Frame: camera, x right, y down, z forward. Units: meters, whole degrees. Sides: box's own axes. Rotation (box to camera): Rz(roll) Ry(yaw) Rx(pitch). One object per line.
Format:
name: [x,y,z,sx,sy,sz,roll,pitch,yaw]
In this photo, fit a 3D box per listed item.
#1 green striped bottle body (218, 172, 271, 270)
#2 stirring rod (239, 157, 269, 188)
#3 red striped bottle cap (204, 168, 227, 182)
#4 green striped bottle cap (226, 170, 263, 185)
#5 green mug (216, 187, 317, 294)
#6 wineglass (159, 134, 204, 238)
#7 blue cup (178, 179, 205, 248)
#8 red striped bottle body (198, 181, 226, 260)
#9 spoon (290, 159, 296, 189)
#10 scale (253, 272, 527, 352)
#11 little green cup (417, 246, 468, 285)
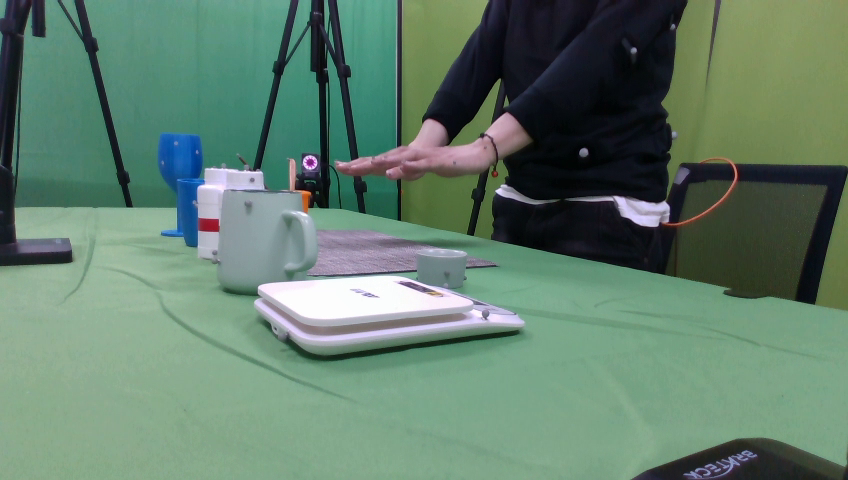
green striped bottle body: [-0.223,-0.025,0.755,0.063,0.119,0.063,1,7,0]
stirring rod: [-0.309,-0.098,1.209,0.006,0.177,0.014,-39,29,-4]
red striped bottle cap: [-0.275,-0.088,0.821,0.044,0.017,0.044,4,6,0]
green striped bottle cap: [-0.222,-0.077,0.748,0.044,0.020,0.044,1,7,0]
green mug: [-0.157,0.000,0.629,0.124,0.105,0.093,7,9,37]
wineglass: [-0.415,-0.093,1.040,0.074,0.172,0.073,2,7,0]
blue cup: [-0.335,-0.041,0.936,0.093,0.100,0.092,3,9,0]
red striped bottle body: [-0.275,-0.035,0.827,0.063,0.119,0.063,1,6,0]
spoon: [-0.273,-0.102,1.252,0.042,0.193,0.021,7,-38,-17]
scale: [-0.029,0.054,0.512,0.202,0.031,0.148,-2,8,-31]
little green cup: [0.021,0.029,0.702,0.061,0.038,0.061,1,6,0]
